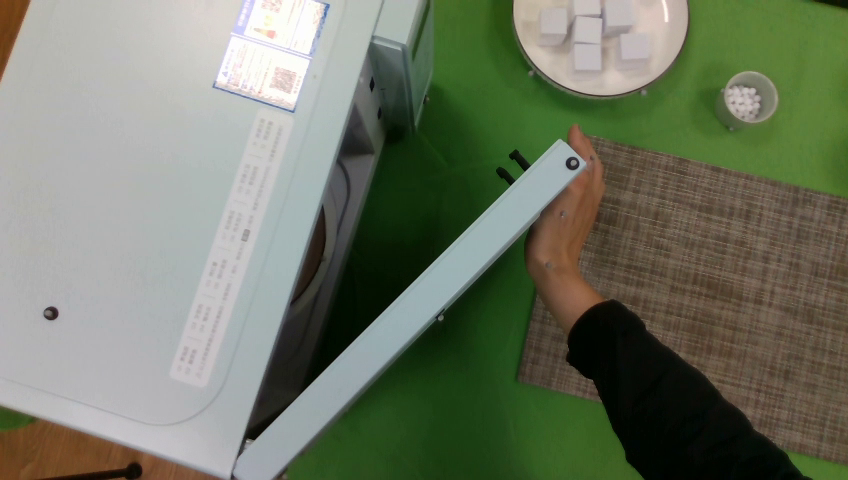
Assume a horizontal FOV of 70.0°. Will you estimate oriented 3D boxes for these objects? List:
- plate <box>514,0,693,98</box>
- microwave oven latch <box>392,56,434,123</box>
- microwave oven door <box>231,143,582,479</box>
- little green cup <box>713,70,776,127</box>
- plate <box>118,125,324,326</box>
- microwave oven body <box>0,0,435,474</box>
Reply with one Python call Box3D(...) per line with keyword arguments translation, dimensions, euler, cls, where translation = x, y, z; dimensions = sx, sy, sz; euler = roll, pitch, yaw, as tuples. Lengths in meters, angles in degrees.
Box3D(translation=(0.209, -0.267, 0.721), dimensions=(0.208, 0.039, 0.207), euler=(0, 85, 0), cls="plate")
Box3D(translation=(-0.012, -0.177, 0.694), dimensions=(0.030, 0.029, 0.079), euler=(22, 86, 2), cls="microwave oven latch")
Box3D(translation=(-0.011, 0.064, 0.572), dimensions=(0.355, 0.244, 0.039), euler=(-45, 85, -4), cls="microwave oven door")
Box3D(translation=(0.373, -0.163, 0.712), dimensions=(0.061, 0.039, 0.061), euler=(0, 85, 0), cls="little green cup")
Box3D(translation=(-0.207, -0.015, 0.634), dimensions=(0.209, 0.038, 0.208), euler=(0, 86, -1), cls="plate")
Box3D(translation=(-0.207, -0.061, 0.588), dimensions=(0.326, 0.260, 0.441), euler=(17, 86, 1), cls="microwave oven body")
